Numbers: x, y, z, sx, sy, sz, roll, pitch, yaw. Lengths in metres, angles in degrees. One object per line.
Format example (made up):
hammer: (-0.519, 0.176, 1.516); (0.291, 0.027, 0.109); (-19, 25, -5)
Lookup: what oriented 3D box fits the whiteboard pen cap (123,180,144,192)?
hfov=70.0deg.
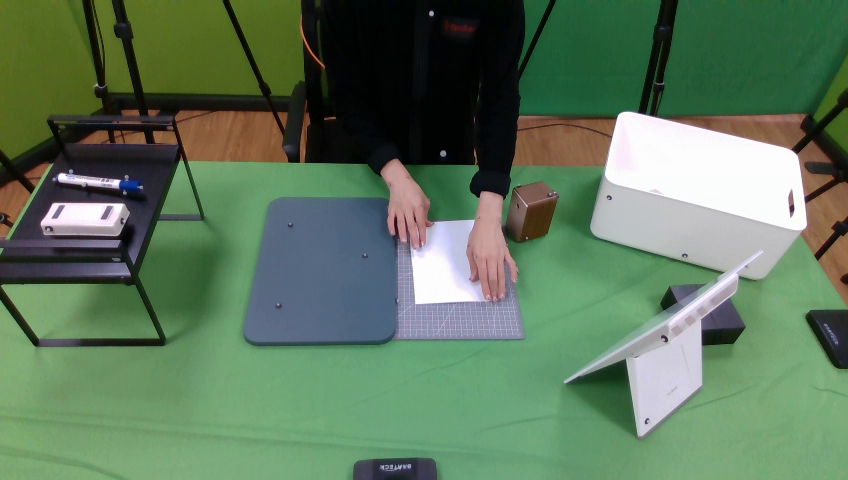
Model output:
whiteboard pen cap: (-0.479, -0.089, 0.993); (0.033, 0.018, 0.018); (7, 46, 14)

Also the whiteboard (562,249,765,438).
whiteboard: (0.386, 0.175, 0.905); (0.217, 0.306, 0.143); (-26, 72, -26)

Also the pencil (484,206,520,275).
pencil: (0.156, -0.002, 1.218); (0.012, 0.012, 0.192); (-10, 48, -13)

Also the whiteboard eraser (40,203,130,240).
whiteboard eraser: (-0.513, -0.028, 0.922); (0.113, 0.042, 0.055); (1, 48, -3)

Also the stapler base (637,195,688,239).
stapler base: (0.507, -0.055, 1.280); (0.041, 0.024, 0.129); (-14, 47, -19)

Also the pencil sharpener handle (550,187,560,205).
pencil sharpener handle: (0.261, -0.084, 1.221); (0.031, 0.068, 0.036); (-16, 67, -19)

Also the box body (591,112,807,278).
box body: (0.540, -0.092, 1.229); (0.363, 0.161, 0.253); (16, 47, 11)

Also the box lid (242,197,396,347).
box lid: (-0.186, 0.046, 1.147); (0.263, 0.015, 0.369); (0, 46, -3)

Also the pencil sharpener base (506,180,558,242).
pencil sharpener base: (0.216, -0.058, 1.211); (0.077, 0.107, 0.061); (-16, 49, -19)

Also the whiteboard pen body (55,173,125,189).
whiteboard pen body: (-0.539, -0.095, 0.998); (0.141, 0.017, 0.017); (6, 46, 6)

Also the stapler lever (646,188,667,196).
stapler lever: (0.507, -0.075, 1.262); (0.027, 0.040, 0.117); (-14, 46, -19)
